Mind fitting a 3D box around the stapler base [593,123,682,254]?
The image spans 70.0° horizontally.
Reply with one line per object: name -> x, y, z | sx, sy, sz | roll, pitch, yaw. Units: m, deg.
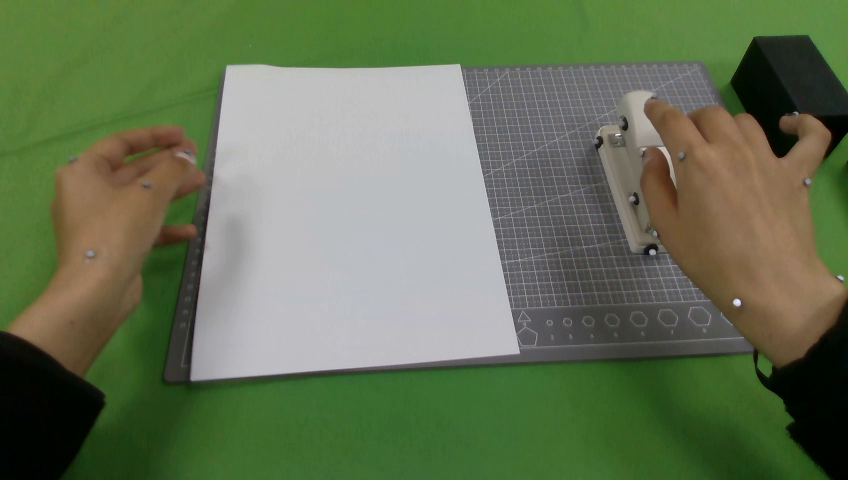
stapler base -> 0.168, -0.049, 0.478 | 0.041, 0.024, 0.129 | -4, 57, -2

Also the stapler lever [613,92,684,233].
stapler lever -> 0.169, -0.062, 0.457 | 0.027, 0.040, 0.117 | -4, 57, -2
